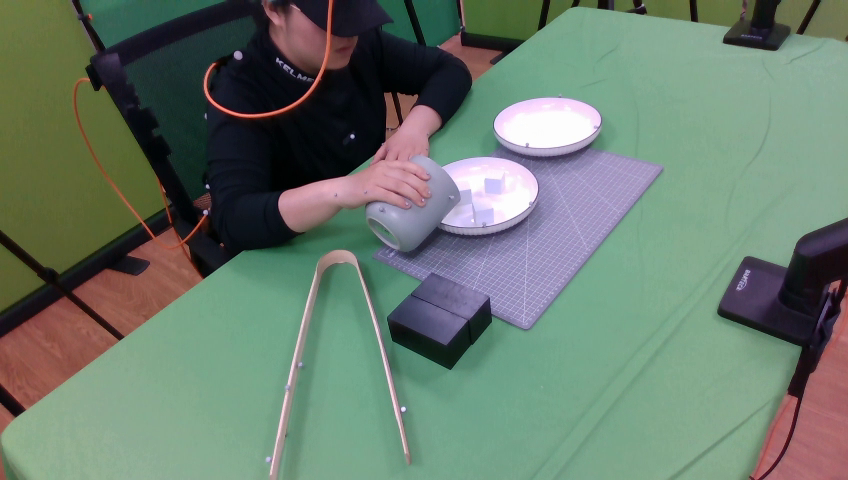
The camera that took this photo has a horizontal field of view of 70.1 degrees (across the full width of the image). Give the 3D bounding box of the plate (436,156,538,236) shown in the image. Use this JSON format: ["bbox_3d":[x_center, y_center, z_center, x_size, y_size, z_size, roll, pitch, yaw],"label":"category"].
[{"bbox_3d":[0.091,-0.072,1.034,0.207,0.039,0.206,-5,40,5],"label":"plate"}]

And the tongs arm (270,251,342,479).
[{"bbox_3d":[-0.152,0.148,0.826,0.051,0.026,0.382,-6,38,3],"label":"tongs arm"}]

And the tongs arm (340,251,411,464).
[{"bbox_3d":[-0.070,0.136,0.830,0.028,0.028,0.384,-18,40,-5],"label":"tongs arm"}]

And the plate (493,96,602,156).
[{"bbox_3d":[0.239,-0.218,1.180,0.209,0.038,0.208,-4,39,4],"label":"plate"}]

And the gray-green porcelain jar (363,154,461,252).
[{"bbox_3d":[-0.022,-0.053,0.936,0.105,0.106,0.126,29,67,36],"label":"gray-green porcelain jar"}]
